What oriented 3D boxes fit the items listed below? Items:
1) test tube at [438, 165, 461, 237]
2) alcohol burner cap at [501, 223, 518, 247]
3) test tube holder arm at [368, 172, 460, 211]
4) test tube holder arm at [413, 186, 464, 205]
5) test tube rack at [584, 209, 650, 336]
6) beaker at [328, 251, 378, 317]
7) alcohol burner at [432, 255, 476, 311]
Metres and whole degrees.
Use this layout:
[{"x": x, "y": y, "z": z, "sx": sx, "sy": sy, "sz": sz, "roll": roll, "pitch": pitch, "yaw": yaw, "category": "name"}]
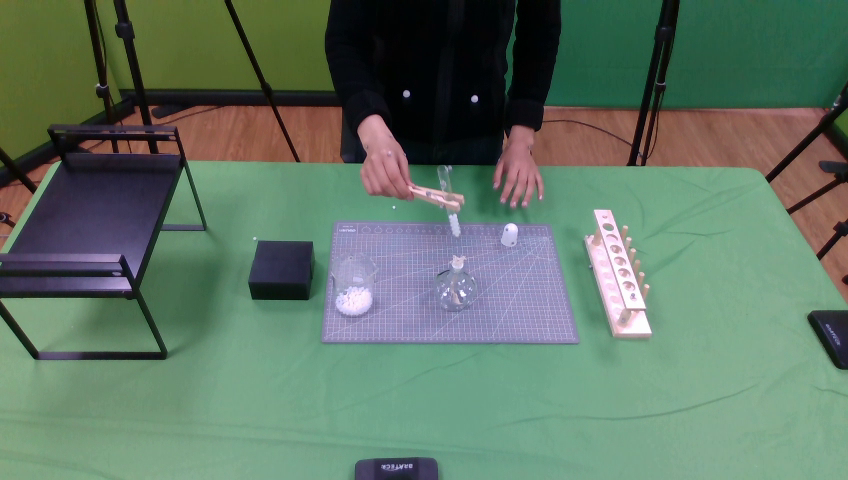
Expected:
[{"x": 0.041, "y": -0.057, "z": 0.954, "sx": 0.017, "sy": 0.151, "sz": 0.017, "roll": -7, "pitch": 48, "yaw": 8, "category": "test tube"}, {"x": 0.172, "y": -0.013, "z": 1.207, "sx": 0.034, "sy": 0.048, "sz": 0.033, "roll": 0, "pitch": 45, "yaw": 0, "category": "alcohol burner cap"}, {"x": -0.020, "y": -0.080, "z": 0.976, "sx": 0.177, "sy": 0.015, "sz": 0.013, "roll": 20, "pitch": 57, "yaw": 27, "category": "test tube holder arm"}, {"x": 0.021, "y": -0.072, "z": 0.960, "sx": 0.087, "sy": 0.015, "sz": 0.010, "roll": 13, "pitch": 54, "yaw": 23, "category": "test tube holder arm"}, {"x": 0.365, "y": 0.056, "z": 1.129, "sx": 0.067, "sy": 0.085, "sz": 0.240, "roll": 1, "pitch": 46, "yaw": -4, "category": "test tube rack"}, {"x": -0.123, "y": 0.079, "z": 1.055, "sx": 0.084, "sy": 0.101, "sz": 0.073, "roll": 0, "pitch": 47, "yaw": -5, "category": "beaker"}, {"x": 0.055, "y": 0.070, "z": 1.068, "sx": 0.078, "sy": 0.119, "sz": 0.077, "roll": 3, "pitch": 45, "yaw": -3, "category": "alcohol burner"}]
